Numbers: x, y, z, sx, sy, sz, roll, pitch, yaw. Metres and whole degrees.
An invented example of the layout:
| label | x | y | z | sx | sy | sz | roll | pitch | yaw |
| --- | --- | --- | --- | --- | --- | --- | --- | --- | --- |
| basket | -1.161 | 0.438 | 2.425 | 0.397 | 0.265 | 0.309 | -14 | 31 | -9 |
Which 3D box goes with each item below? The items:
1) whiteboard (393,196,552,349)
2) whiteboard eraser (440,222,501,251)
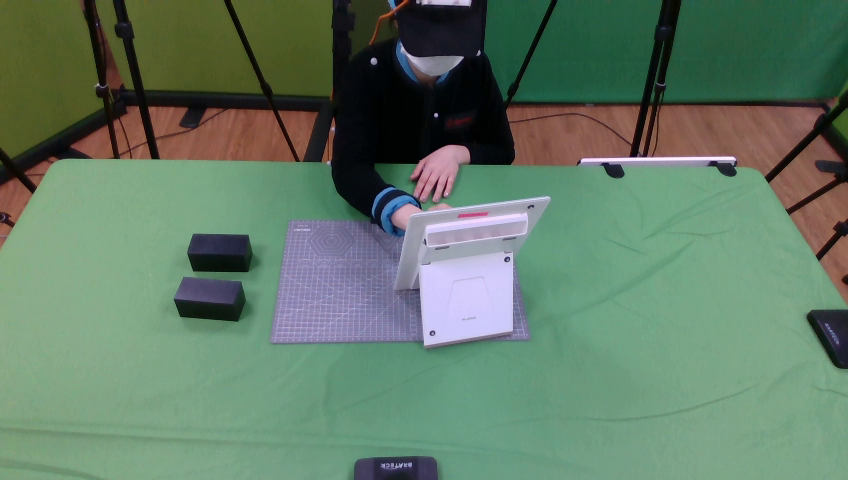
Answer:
| label | x | y | z | sx | sy | sz | roll | pitch | yaw |
| --- | --- | --- | --- | --- | --- | --- | --- | --- | --- |
| whiteboard | 0.077 | 0.071 | 0.977 | 0.217 | 0.306 | 0.143 | -7 | 66 | -11 |
| whiteboard eraser | 0.075 | -0.006 | 0.994 | 0.101 | 0.041 | 0.018 | -19 | 70 | 16 |
